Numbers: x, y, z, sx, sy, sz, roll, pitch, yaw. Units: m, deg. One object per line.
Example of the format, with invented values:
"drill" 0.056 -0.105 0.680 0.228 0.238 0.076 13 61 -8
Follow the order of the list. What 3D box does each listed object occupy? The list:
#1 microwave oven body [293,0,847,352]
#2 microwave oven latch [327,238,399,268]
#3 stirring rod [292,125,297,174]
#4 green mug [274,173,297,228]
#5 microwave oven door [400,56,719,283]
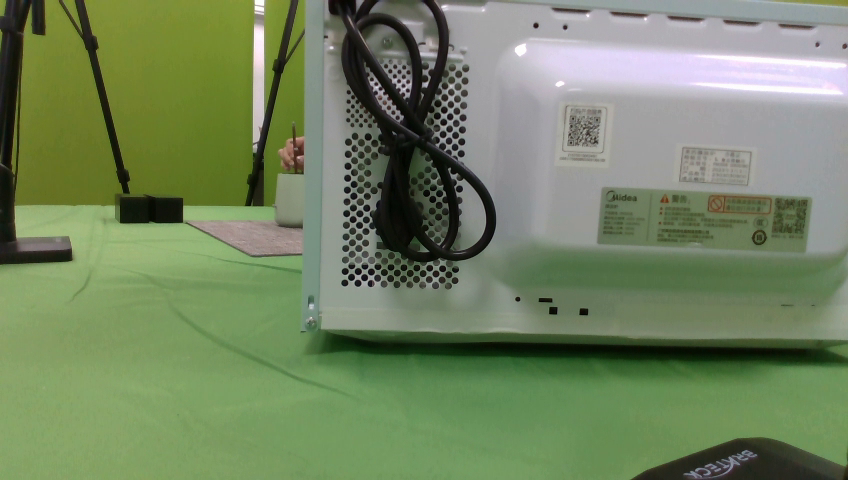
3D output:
"microwave oven body" 0.122 -0.055 0.550 0.442 0.260 0.325 3 7 -5
"microwave oven latch" -0.069 0.015 0.694 0.079 0.029 0.030 3 7 -3
"stirring rod" -0.258 -0.140 1.211 0.006 0.176 0.014 -1 8 -3
"green mug" -0.242 -0.081 1.221 0.092 0.105 0.126 8 9 40
"microwave oven door" 0.155 -0.078 0.697 0.356 0.243 0.039 2 8 -5
